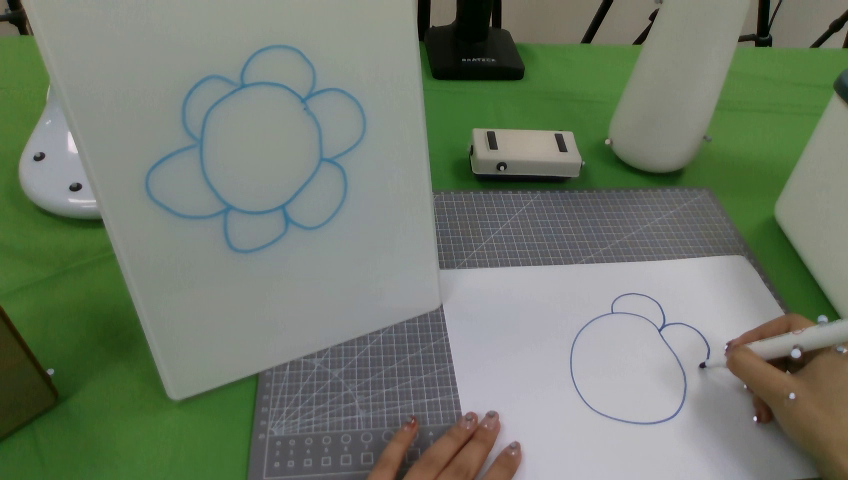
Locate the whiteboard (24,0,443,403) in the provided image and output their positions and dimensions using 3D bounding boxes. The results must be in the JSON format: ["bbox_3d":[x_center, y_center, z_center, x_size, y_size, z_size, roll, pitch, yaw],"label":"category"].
[{"bbox_3d":[-0.122,-0.075,0.449,0.218,0.308,0.142,-17,30,-20],"label":"whiteboard"}]

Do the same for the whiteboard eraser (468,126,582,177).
[{"bbox_3d":[0.104,-0.092,0.635,0.113,0.042,0.055,0,43,-5],"label":"whiteboard eraser"}]

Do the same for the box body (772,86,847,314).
[{"bbox_3d":[0.485,0.031,0.469,0.254,0.162,0.360,-1,45,-6],"label":"box body"}]

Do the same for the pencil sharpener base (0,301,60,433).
[{"bbox_3d":[-0.297,0.068,0.386,0.076,0.108,0.061,33,51,25],"label":"pencil sharpener base"}]

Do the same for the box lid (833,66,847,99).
[{"bbox_3d":[0.489,-0.020,0.415,0.264,0.015,0.367,0,45,-6],"label":"box lid"}]

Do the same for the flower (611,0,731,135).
[{"bbox_3d":[0.276,-0.217,0.550,0.044,0.363,0.038,-22,69,-33],"label":"flower"}]

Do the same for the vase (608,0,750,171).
[{"bbox_3d":[0.259,-0.169,0.617,0.098,0.201,0.097,4,45,-3],"label":"vase"}]

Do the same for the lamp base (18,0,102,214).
[{"bbox_3d":[-0.308,-0.141,0.541,0.178,0.182,0.160,28,49,24],"label":"lamp base"}]

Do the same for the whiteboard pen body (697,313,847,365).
[{"bbox_3d":[0.252,0.072,0.428,0.017,0.141,0.017,12,63,-26],"label":"whiteboard pen body"}]
